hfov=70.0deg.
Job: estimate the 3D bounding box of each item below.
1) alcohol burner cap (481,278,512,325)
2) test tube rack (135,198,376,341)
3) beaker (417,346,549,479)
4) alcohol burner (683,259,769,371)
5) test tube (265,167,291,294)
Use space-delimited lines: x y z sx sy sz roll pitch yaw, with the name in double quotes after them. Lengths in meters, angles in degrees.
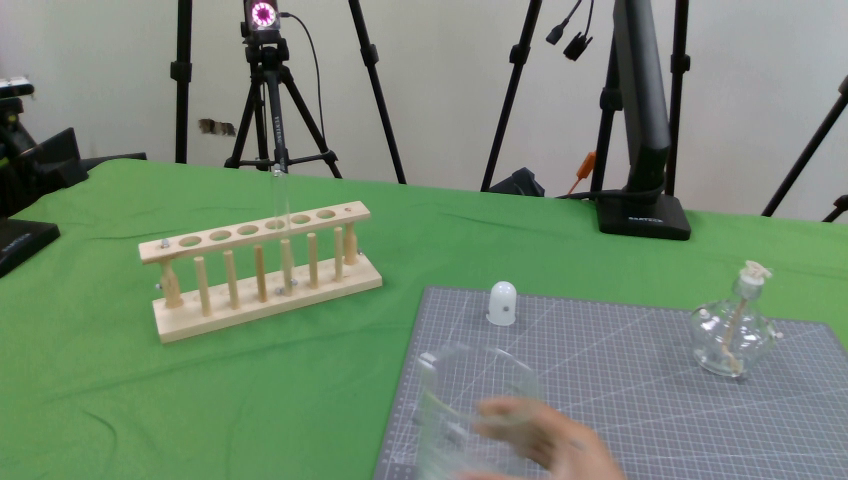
0.079 0.064 0.655 0.034 0.048 0.033 1 31 0 "alcohol burner cap"
-0.177 0.026 0.670 0.243 0.086 0.066 -14 34 -24 "test tube rack"
0.031 0.129 0.391 0.083 0.101 0.074 19 28 27 "beaker"
0.296 0.068 0.586 0.078 0.120 0.077 3 31 -1 "alcohol burner"
-0.153 -0.007 0.639 0.017 0.151 0.017 2 31 -1 "test tube"
